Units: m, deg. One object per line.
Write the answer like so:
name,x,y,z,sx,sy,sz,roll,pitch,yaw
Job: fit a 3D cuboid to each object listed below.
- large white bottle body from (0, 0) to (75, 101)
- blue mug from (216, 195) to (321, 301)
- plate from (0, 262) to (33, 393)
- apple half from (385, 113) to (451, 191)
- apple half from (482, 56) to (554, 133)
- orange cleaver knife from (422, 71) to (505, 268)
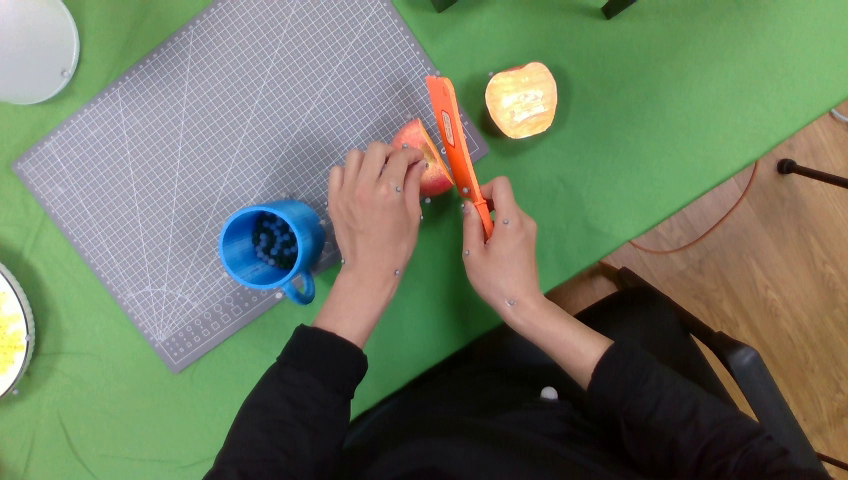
large white bottle body,-0.443,-0.206,0.570,0.130,0.184,0.131,0,98,2
blue mug,-0.151,0.011,0.636,0.082,0.105,0.117,-27,97,5
plate,-0.549,0.091,0.694,0.209,0.038,0.209,0,100,2
apple half,-0.012,-0.086,0.633,0.053,0.074,0.081,-29,101,9
apple half,0.097,-0.153,0.642,0.081,0.032,0.081,-3,105,-11
orange cleaver knife,0.038,-0.073,0.618,0.012,0.077,0.212,-21,99,-12
